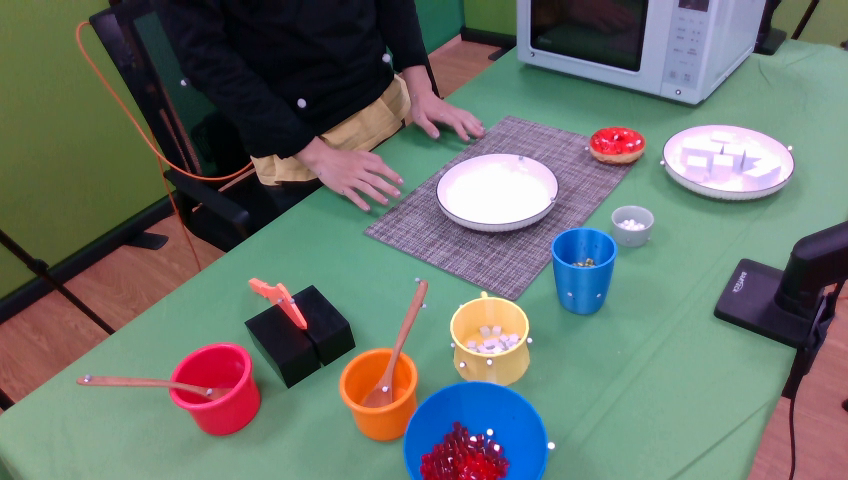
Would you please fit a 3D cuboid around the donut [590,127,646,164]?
[{"bbox_3d":[0.353,-0.174,1.103,0.099,0.048,0.098,-4,38,4],"label":"donut"}]

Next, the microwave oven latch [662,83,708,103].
[{"bbox_3d":[0.517,-0.296,1.204,0.078,0.029,0.030,28,52,35],"label":"microwave oven latch"}]

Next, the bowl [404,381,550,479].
[{"bbox_3d":[0.058,0.235,0.645,0.151,0.077,0.150,-4,39,4],"label":"bowl"}]

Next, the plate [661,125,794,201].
[{"bbox_3d":[0.513,-0.128,1.035,0.207,0.039,0.206,-4,40,4],"label":"plate"}]

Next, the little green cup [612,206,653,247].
[{"bbox_3d":[0.321,-0.019,0.936,0.061,0.039,0.061,-4,41,4],"label":"little green cup"}]

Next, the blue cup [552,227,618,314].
[{"bbox_3d":[0.217,0.047,0.825,0.092,0.100,0.092,-6,40,5],"label":"blue cup"}]

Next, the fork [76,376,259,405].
[{"bbox_3d":[-0.295,0.176,0.716,0.209,0.018,0.028,19,27,-37],"label":"fork"}]

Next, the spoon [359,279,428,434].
[{"bbox_3d":[-0.032,0.138,0.719,0.041,0.193,0.022,22,4,30],"label":"spoon"}]

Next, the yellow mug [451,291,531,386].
[{"bbox_3d":[0.085,0.120,0.786,0.100,0.064,0.130,-7,39,1],"label":"yellow mug"}]

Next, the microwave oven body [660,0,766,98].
[{"bbox_3d":[0.472,-0.513,1.317,0.438,0.261,0.327,26,51,34],"label":"microwave oven body"}]

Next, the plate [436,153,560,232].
[{"bbox_3d":[0.125,-0.078,1.029,0.209,0.038,0.208,-4,40,4],"label":"plate"}]

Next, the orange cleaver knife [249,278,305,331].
[{"bbox_3d":[-0.210,0.088,0.856,0.012,0.077,0.210,-28,15,-25],"label":"orange cleaver knife"}]

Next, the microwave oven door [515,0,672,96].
[{"bbox_3d":[0.343,-0.454,1.259,0.353,0.245,0.039,26,51,33],"label":"microwave oven door"}]
